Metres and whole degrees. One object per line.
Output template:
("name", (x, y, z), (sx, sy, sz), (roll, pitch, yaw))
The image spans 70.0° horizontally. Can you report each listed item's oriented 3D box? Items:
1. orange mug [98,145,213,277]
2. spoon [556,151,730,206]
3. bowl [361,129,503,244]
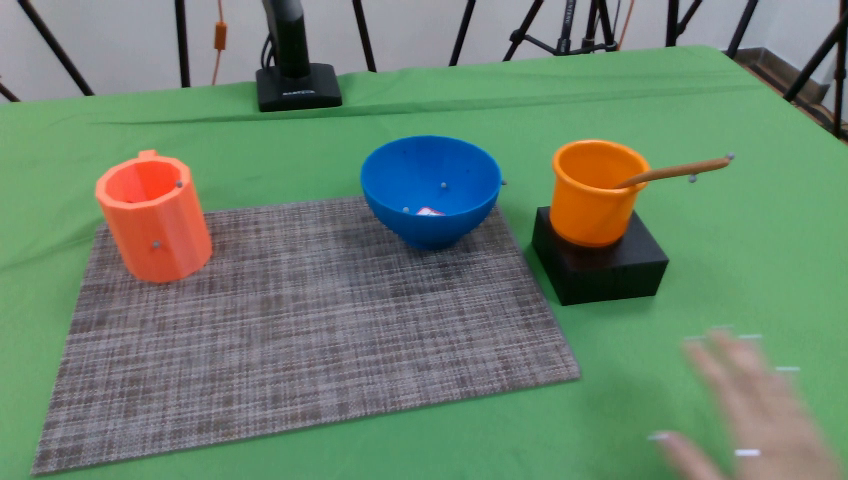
("orange mug", (-0.273, -0.038, 0.623), (0.083, 0.101, 0.125), (-12, 48, -14))
("spoon", (0.190, -0.056, 0.552), (0.041, 0.193, 0.021), (-27, 93, -27))
("bowl", (0.008, -0.049, 0.660), (0.151, 0.077, 0.150), (1, 42, -1))
